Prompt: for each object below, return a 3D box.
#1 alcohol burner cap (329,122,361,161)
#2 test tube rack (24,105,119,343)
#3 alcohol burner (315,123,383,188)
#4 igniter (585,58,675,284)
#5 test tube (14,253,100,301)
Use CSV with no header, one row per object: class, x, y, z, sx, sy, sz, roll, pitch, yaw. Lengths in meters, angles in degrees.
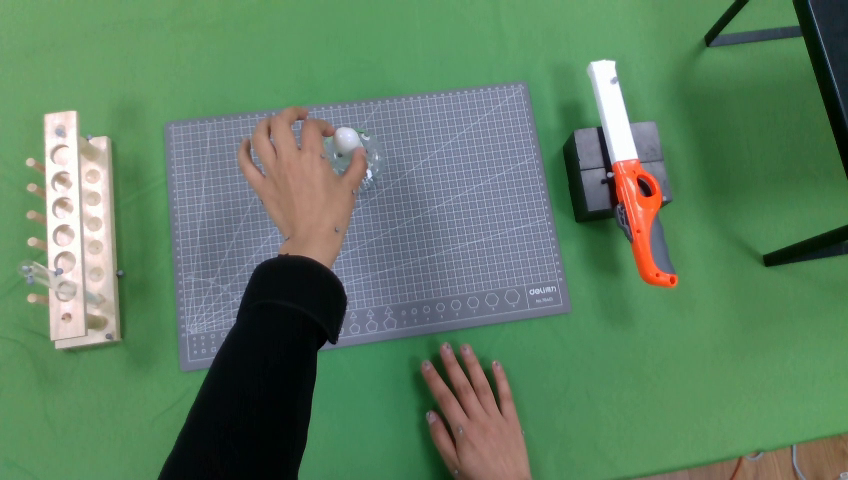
alcohol burner cap,-0.086,-0.107,0.643,0.034,0.048,0.033,0,77,1
test tube rack,-0.390,-0.015,0.660,0.067,0.085,0.241,-8,79,-5
alcohol burner,-0.086,-0.100,0.678,0.078,0.119,0.077,0,79,-1
igniter,0.232,-0.082,0.691,0.057,0.025,0.275,-9,76,-8
test tube,-0.358,0.039,0.601,0.017,0.151,0.017,2,73,-5
